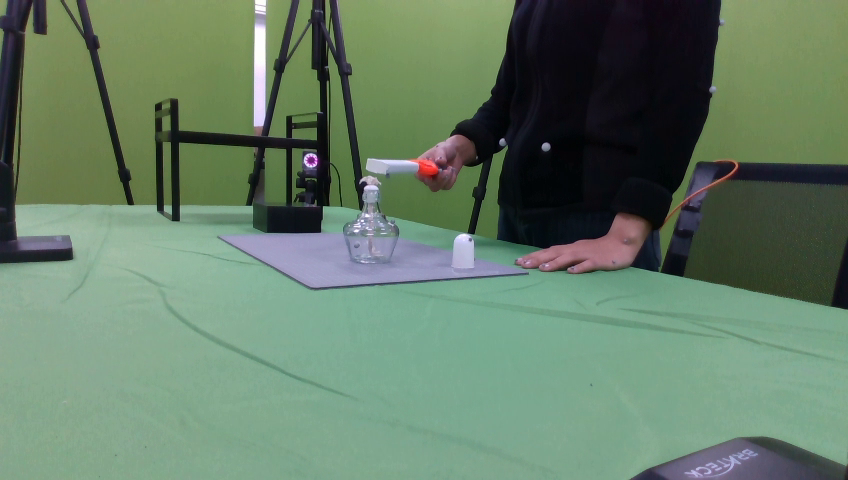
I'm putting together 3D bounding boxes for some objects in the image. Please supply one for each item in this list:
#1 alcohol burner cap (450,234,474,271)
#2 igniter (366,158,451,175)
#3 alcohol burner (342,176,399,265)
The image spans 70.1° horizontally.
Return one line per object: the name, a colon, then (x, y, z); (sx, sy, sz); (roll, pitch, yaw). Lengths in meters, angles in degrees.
alcohol burner cap: (0.053, 0.015, 0.809); (0.034, 0.048, 0.034); (5, 9, 0)
igniter: (-0.016, -0.116, 0.956); (0.057, 0.025, 0.277); (15, 11, 19)
alcohol burner: (-0.072, -0.027, 0.818); (0.078, 0.119, 0.078); (1, 6, 0)
